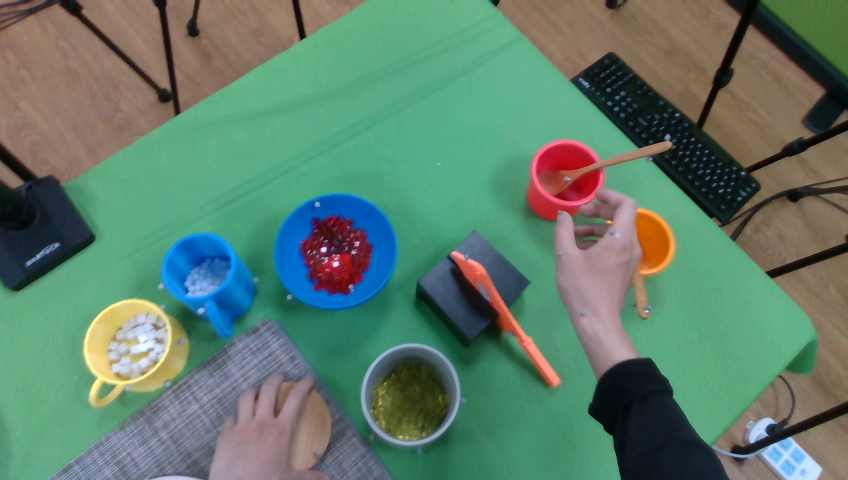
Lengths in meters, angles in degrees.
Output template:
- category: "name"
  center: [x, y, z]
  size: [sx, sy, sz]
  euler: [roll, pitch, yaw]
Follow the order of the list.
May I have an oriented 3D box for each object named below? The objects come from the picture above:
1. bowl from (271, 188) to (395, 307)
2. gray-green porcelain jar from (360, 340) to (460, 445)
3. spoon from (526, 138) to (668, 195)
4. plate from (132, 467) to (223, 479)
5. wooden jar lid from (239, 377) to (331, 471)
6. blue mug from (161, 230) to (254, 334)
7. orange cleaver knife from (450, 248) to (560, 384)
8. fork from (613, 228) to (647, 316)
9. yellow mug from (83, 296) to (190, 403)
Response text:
- category: "bowl"
  center: [-0.111, 0.020, 0.772]
  size: [0.151, 0.077, 0.150]
  euler: [1, 70, -2]
- category: "gray-green porcelain jar"
  center: [-0.017, 0.179, 0.693]
  size: [0.106, 0.127, 0.105]
  euler: [1, 69, -3]
- category: "spoon"
  center: [0.222, -0.099, 0.797]
  size: [0.193, 0.022, 0.041]
  euler: [-17, 58, 39]
- category: "plate"
  center: [-0.275, 0.357, 0.657]
  size: [0.209, 0.038, 0.207]
  euler: [1, 70, -3]
- category: "wooden jar lid"
  center: [-0.164, 0.219, 0.724]
  size: [0.108, 0.021, 0.107]
  euler: [1, 70, -3]
- category: "blue mug"
  center: [-0.255, 0.059, 0.736]
  size: [0.082, 0.106, 0.115]
  euler: [-18, 72, -9]
- category: "orange cleaver knife"
  center: [0.100, 0.094, 0.754]
  size: [0.012, 0.077, 0.212]
  euler: [-40, 106, -15]
- category: "fork"
  center: [0.256, 0.034, 0.748]
  size: [0.028, 0.019, 0.206]
  euler: [21, 26, 1]
- category: "yellow mug"
  center: [-0.350, 0.136, 0.723]
  size: [0.099, 0.064, 0.130]
  euler: [28, 72, 8]
